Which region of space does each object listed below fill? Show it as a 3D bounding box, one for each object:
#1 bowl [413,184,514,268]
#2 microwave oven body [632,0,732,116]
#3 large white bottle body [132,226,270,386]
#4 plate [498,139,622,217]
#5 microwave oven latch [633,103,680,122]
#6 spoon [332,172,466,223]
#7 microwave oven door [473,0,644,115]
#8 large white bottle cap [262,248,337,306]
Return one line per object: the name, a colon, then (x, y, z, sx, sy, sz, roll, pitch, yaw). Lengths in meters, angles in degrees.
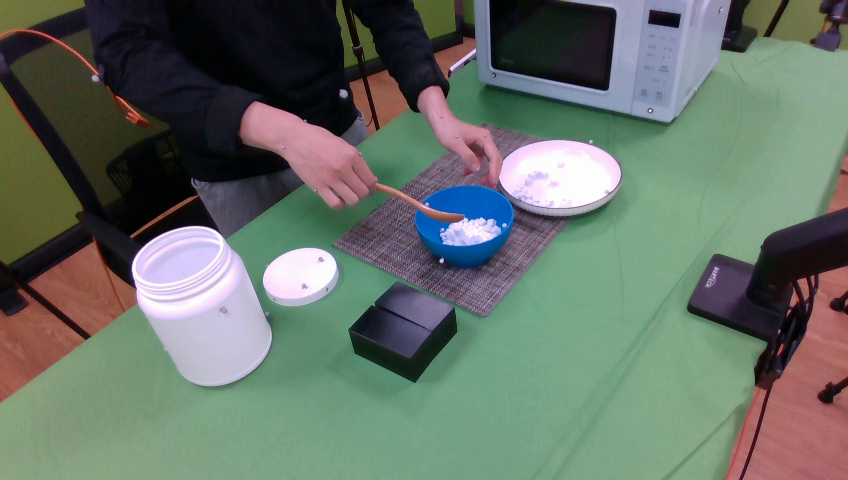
bowl: (0.062, -0.010, 0.922, 0.151, 0.077, 0.150, -4, 40, 4)
microwave oven body: (0.377, -0.463, 1.267, 0.438, 0.261, 0.327, 21, 49, 30)
large white bottle body: (-0.286, 0.085, 0.784, 0.130, 0.185, 0.130, -4, 40, 4)
plate: (0.231, -0.103, 1.038, 0.209, 0.038, 0.208, -4, 41, 4)
microwave oven latch: (0.443, -0.249, 1.157, 0.078, 0.029, 0.030, 21, 48, 30)
spoon: (-0.035, -0.061, 0.840, 0.193, 0.042, 0.021, 21, 59, 7)
microwave oven door: (0.257, -0.396, 1.199, 0.353, 0.245, 0.039, 21, 48, 29)
large white bottle cap: (-0.193, 0.056, 0.934, 0.115, 0.018, 0.114, -4, 41, 4)
